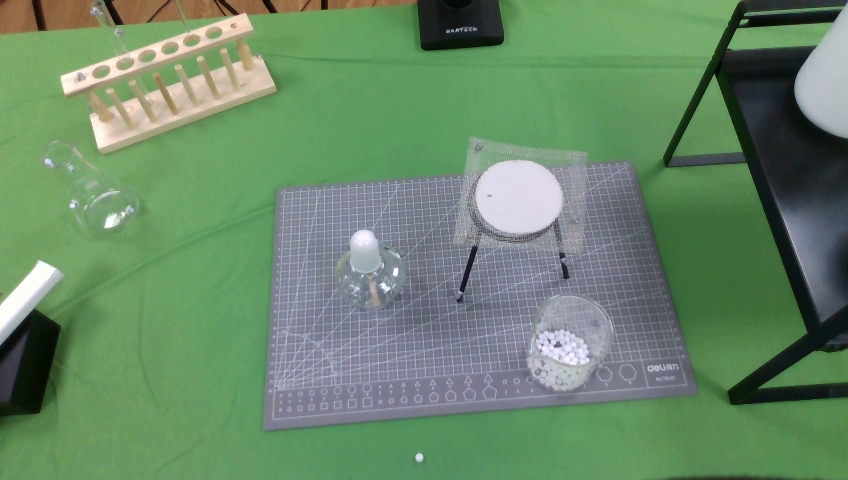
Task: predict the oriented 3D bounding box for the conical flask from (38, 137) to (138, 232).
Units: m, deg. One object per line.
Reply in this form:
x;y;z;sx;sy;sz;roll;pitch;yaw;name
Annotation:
-0.394;-0.068;0.704;0.075;0.123;0.074;-1;61;2;conical flask

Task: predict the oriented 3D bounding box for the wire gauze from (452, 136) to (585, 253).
0.095;-0.046;0.590;0.121;0.011;0.124;8;63;4;wire gauze

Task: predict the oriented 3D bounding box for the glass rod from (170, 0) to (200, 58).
-0.305;-0.276;0.758;0.008;0.201;0.008;-2;54;3;glass rod

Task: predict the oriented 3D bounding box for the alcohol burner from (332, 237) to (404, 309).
-0.061;0.026;0.645;0.078;0.120;0.077;0;60;0;alcohol burner

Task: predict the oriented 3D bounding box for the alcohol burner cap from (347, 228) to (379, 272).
-0.062;0.007;0.613;0.034;0.048;0.033;2;54;-2;alcohol burner cap

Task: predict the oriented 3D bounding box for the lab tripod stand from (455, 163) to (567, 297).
0.091;-0.009;0.647;0.148;0.132;0.147;0;60;0;lab tripod stand

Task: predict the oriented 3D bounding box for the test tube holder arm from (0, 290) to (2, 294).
-0.477;0.084;0.628;0.010;0.015;0.087;40;67;-11;test tube holder arm

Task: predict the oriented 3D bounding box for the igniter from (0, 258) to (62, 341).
-0.470;0.133;0.599;0.057;0.025;0.275;20;63;23;igniter

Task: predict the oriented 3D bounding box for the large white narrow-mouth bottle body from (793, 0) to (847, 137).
0.394;-0.177;0.491;0.102;0.196;0.101;-1;61;3;large white narrow-mouth bottle body

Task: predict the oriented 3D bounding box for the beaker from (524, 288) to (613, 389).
0.137;0.105;0.604;0.084;0.101;0.073;-29;64;-12;beaker

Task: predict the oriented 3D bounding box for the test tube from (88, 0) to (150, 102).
-0.376;-0.231;0.755;0.017;0.151;0.017;-1;55;1;test tube

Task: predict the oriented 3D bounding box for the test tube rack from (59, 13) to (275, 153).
-0.331;-0.207;0.797;0.242;0.086;0.066;-23;63;-10;test tube rack
